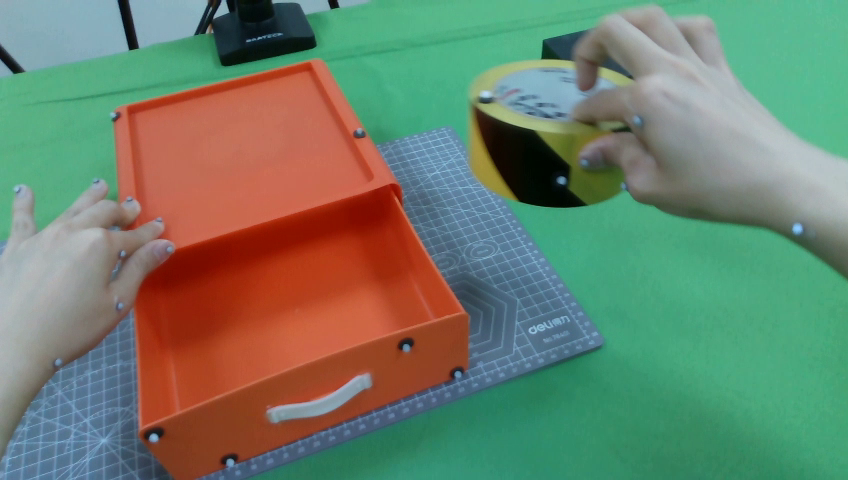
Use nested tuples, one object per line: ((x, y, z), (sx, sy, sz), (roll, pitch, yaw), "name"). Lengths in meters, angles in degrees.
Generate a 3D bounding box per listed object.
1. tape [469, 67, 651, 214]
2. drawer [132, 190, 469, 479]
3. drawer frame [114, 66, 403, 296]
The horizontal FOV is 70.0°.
((0.085, -0.070, 0.399), (0.117, 0.053, 0.115), (1, 37, 0), "tape")
((-0.097, 0.036, 0.433), (0.195, 0.074, 0.209), (-19, 46, -13), "drawer")
((-0.146, -0.047, 0.518), (0.202, 0.083, 0.211), (-19, 46, -14), "drawer frame")
